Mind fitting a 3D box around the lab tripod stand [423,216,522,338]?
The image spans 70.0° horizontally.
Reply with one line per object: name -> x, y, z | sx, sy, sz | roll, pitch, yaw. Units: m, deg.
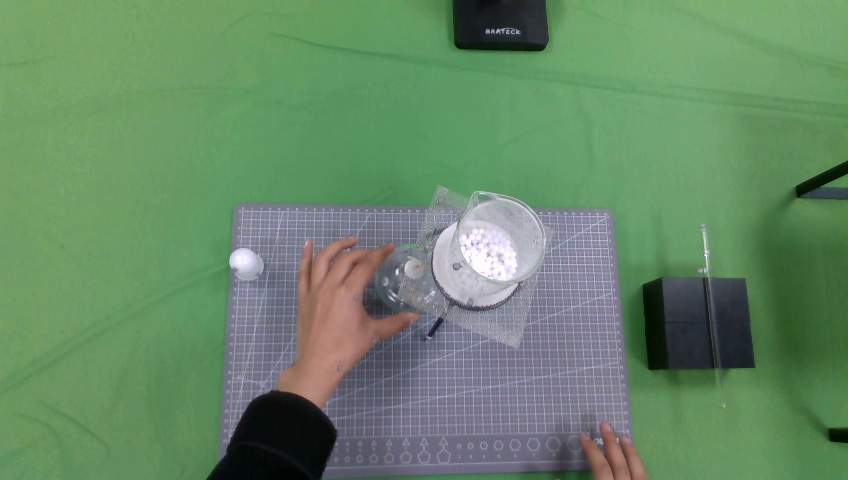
lab tripod stand -> 0.047, 0.034, 0.636 | 0.148, 0.132, 0.147 | 2, 75, -6

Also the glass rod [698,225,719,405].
glass rod -> 0.316, 0.080, 0.673 | 0.008, 0.008, 0.199 | 2, 78, -5

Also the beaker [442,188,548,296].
beaker -> 0.054, 0.006, 0.526 | 0.074, 0.100, 0.083 | -23, 80, -12

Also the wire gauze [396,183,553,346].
wire gauze -> 0.049, 0.021, 0.572 | 0.125, 0.011, 0.121 | 23, 77, -4

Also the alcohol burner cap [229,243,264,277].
alcohol burner cap -> -0.195, 0.021, 0.659 | 0.034, 0.048, 0.033 | 1, 76, -5

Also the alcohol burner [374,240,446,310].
alcohol burner -> -0.013, 0.034, 0.640 | 0.078, 0.119, 0.077 | 2, 77, -8
